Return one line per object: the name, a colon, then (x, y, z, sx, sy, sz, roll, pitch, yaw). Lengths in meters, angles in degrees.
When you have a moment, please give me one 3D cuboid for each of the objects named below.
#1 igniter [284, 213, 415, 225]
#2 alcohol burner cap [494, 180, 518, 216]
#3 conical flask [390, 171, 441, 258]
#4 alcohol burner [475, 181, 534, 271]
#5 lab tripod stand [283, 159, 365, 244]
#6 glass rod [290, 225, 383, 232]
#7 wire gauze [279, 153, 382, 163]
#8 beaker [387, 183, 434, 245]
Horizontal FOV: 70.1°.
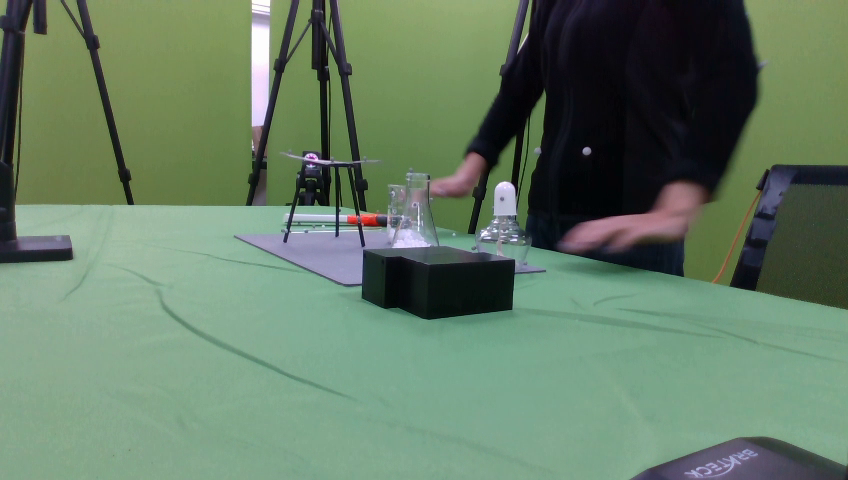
igniter: (-0.154, -0.045, 1.282, 0.278, 0.025, 0.057, 0, -3, -20)
alcohol burner cap: (0.108, -0.055, 0.800, 0.034, 0.048, 0.034, -2, 4, 0)
conical flask: (-0.010, -0.037, 0.872, 0.075, 0.122, 0.075, 2, 7, 0)
alcohol burner: (0.108, -0.020, 0.804, 0.078, 0.119, 0.078, 3, 5, 0)
lab tripod stand: (-0.151, -0.063, 0.983, 0.148, 0.131, 0.148, 4, 7, 0)
glass rod: (-0.166, -0.023, 1.174, 0.201, 0.008, 0.008, -3, 9, -35)
wire gauze: (-0.149, -0.129, 0.974, 0.124, 0.011, 0.122, 10, 9, 41)
beaker: (-0.027, -0.044, 1.012, 0.074, 0.100, 0.083, -2, 8, -34)
